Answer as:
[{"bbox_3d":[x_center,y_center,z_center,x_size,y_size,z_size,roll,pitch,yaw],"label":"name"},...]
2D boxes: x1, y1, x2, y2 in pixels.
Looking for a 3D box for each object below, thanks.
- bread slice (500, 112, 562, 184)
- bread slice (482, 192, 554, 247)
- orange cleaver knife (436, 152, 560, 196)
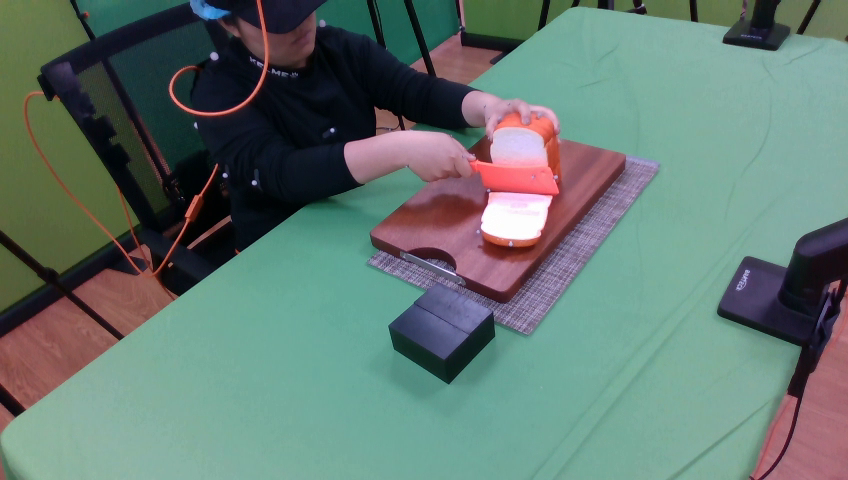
[{"bbox_3d":[0.177,-0.152,1.007,0.106,0.135,0.018,15,51,24],"label":"bread slice"},{"bbox_3d":[0.144,-0.034,0.952,0.104,0.019,0.131,7,37,16],"label":"bread slice"},{"bbox_3d":[0.121,-0.109,1.005,0.210,0.077,0.012,11,55,20],"label":"orange cleaver knife"}]
